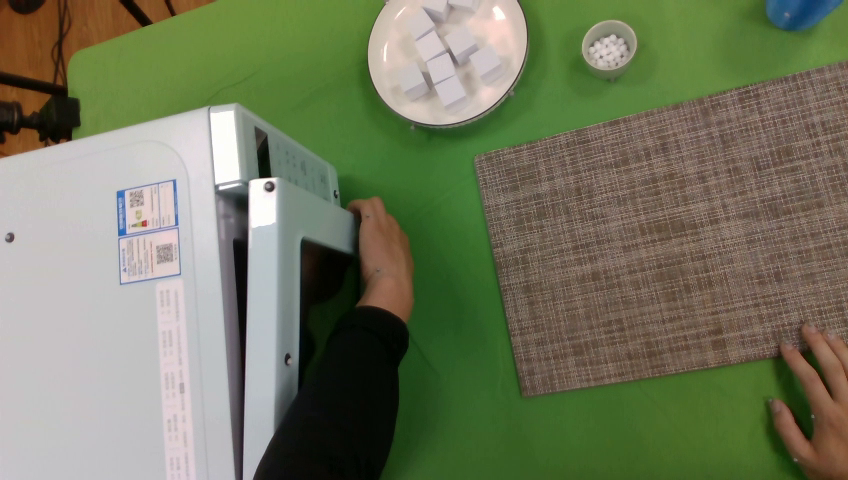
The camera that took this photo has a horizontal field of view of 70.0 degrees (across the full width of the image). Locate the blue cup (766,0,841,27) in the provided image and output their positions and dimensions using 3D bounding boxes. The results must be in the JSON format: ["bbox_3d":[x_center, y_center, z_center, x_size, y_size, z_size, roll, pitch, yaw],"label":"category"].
[{"bbox_3d":[0.411,-0.277,0.644,0.092,0.101,0.092,-2,83,13],"label":"blue cup"}]

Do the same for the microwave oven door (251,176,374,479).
[{"bbox_3d":[-0.109,0.132,0.636,0.039,0.245,0.354,-4,82,14],"label":"microwave oven door"}]

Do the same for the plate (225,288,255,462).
[{"bbox_3d":[-0.243,0.161,0.725,0.208,0.038,0.208,-2,83,13],"label":"plate"}]

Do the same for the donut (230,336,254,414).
[{"bbox_3d":[-0.241,0.161,0.717,0.099,0.048,0.099,0,92,11],"label":"donut"}]

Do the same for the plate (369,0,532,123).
[{"bbox_3d":[0.034,-0.246,0.772,0.207,0.039,0.207,-2,82,15],"label":"plate"}]

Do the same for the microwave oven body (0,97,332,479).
[{"bbox_3d":[-0.271,0.117,0.686,0.325,0.261,0.440,-10,81,13],"label":"microwave oven body"}]

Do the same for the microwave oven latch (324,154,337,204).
[{"bbox_3d":[-0.128,-0.068,0.772,0.030,0.029,0.079,-6,82,13],"label":"microwave oven latch"}]

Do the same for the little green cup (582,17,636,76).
[{"bbox_3d":[0.220,-0.227,0.721,0.061,0.039,0.061,-2,82,15],"label":"little green cup"}]
